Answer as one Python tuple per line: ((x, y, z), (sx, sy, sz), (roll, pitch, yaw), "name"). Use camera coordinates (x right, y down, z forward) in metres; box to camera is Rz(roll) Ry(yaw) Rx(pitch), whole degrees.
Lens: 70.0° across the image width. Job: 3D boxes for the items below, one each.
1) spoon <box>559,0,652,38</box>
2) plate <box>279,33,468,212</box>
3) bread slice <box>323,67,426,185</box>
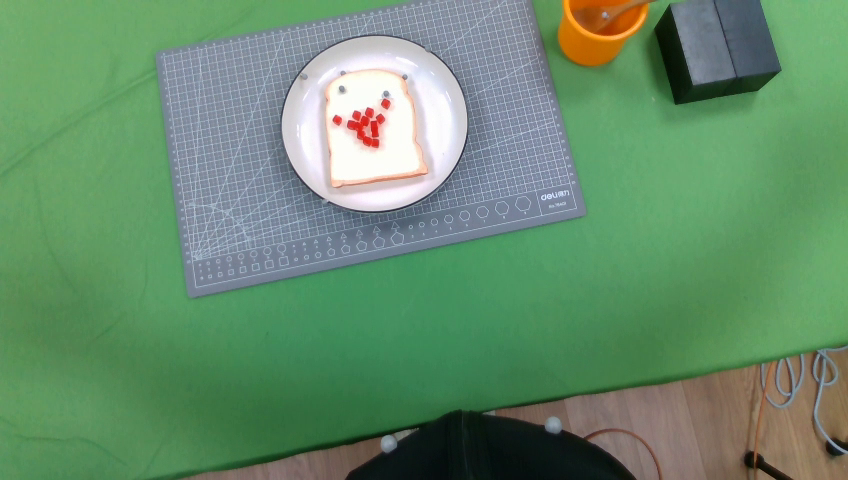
((0.231, -0.254, 0.648), (0.022, 0.192, 0.041), (25, 72, -39), "spoon")
((-0.054, -0.130, 0.680), (0.209, 0.038, 0.208), (0, 79, 1), "plate")
((-0.063, -0.129, 0.681), (0.107, 0.018, 0.133), (-11, 79, -3), "bread slice")
